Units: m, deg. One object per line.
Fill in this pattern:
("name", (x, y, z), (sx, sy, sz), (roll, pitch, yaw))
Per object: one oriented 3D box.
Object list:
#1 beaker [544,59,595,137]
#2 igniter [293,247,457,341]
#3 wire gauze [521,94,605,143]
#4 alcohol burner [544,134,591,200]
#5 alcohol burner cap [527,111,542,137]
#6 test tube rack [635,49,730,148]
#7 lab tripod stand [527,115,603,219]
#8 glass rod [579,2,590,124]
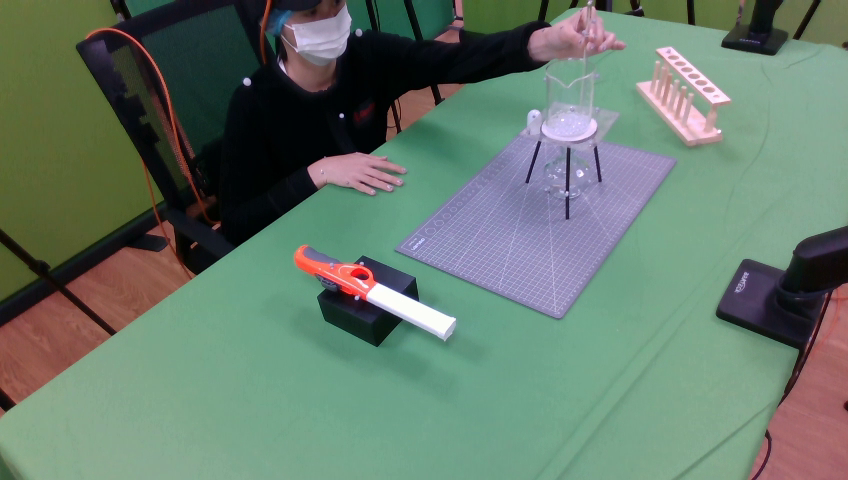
("beaker", (0.222, -0.214, 0.926), (0.074, 0.101, 0.084), (3, 42, 16))
("igniter", (-0.077, 0.068, 0.830), (0.274, 0.025, 0.057), (22, 48, 27))
("wire gauze", (0.219, -0.190, 0.949), (0.121, 0.011, 0.125), (7, 46, 14))
("alcohol burner", (0.241, -0.127, 1.014), (0.078, 0.119, 0.077), (-5, 42, 5))
("alcohol burner cap", (0.221, -0.233, 1.200), (0.034, 0.048, 0.033), (-6, 41, 6))
("test tube rack", (0.497, -0.283, 1.185), (0.067, 0.085, 0.240), (-10, 40, -2))
("lab tripod stand", (0.234, -0.129, 1.002), (0.148, 0.132, 0.147), (-6, 40, 6))
("glass rod", (0.235, -0.253, 0.887), (0.008, 0.201, 0.008), (-5, 48, 6))
